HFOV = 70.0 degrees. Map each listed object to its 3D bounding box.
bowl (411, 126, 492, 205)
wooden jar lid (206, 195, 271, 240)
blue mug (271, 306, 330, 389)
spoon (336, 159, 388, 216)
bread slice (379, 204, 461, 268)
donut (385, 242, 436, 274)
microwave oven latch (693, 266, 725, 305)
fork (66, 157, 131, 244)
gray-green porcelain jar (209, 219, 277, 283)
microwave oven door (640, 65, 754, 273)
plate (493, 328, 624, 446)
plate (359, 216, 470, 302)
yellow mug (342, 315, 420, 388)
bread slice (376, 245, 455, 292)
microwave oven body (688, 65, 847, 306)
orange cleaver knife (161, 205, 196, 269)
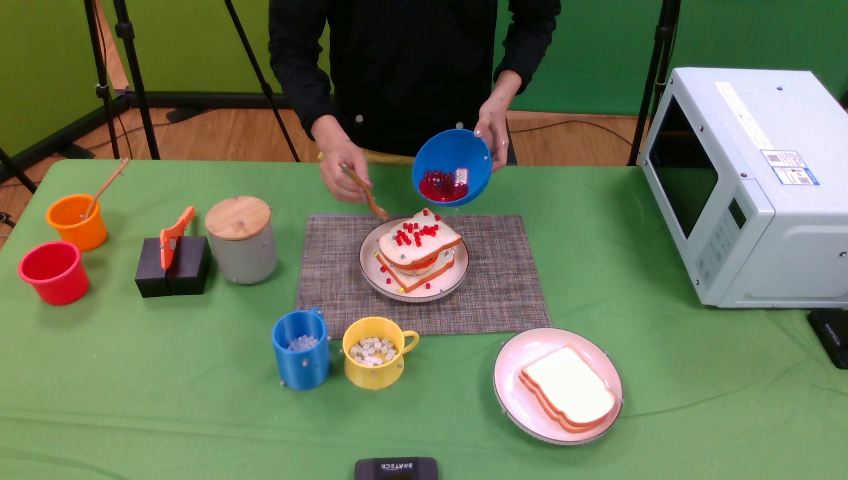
[{"bbox_3d":[0.061,-0.122,1.106,0.151,0.077,0.150,-9,67,21],"label":"bowl"},{"bbox_3d":[-0.319,-0.036,1.046,0.108,0.021,0.107,1,44,-1],"label":"wooden jar lid"},{"bbox_3d":[-0.188,0.163,0.969,0.082,0.106,0.116,15,47,10],"label":"blue mug"},{"bbox_3d":[-0.100,-0.084,0.981,0.021,0.195,0.041,-42,62,-5],"label":"spoon"},{"bbox_3d":[-0.013,-0.003,1.096,0.134,0.018,0.106,-35,50,-21],"label":"bread slice"},{"bbox_3d":[-0.025,0.020,1.122,0.099,0.048,0.098,-10,46,10],"label":"donut"},{"bbox_3d":[0.523,0.081,1.115,0.030,0.029,0.078,3,46,0],"label":"microwave oven latch"},{"bbox_3d":[-0.608,-0.074,1.132,0.207,0.019,0.028,-52,48,10],"label":"fork"},{"bbox_3d":[-0.323,0.007,1.092,0.106,0.127,0.105,2,46,-2],"label":"gray-green porcelain jar"},{"bbox_3d":[0.523,-0.147,1.193,0.039,0.245,0.353,0,47,-3],"label":"microwave oven door"},{"bbox_3d":[0.213,0.236,0.974,0.208,0.039,0.206,2,46,-2],"label":"plate"},{"bbox_3d":[-0.018,0.038,1.140,0.209,0.038,0.208,2,46,-2],"label":"plate"},{"bbox_3d":[-0.068,0.177,0.990,0.131,0.064,0.099,-15,50,-19],"label":"yellow mug"},{"bbox_3d":[-0.010,0.033,1.149,0.131,0.019,0.104,-27,55,-26],"label":"bread slice"},{"bbox_3d":[0.669,-0.111,1.176,0.326,0.261,0.439,0,46,-3],"label":"microwave oven body"},{"bbox_3d":[-0.454,-0.010,1.129,0.012,0.077,0.210,-2,20,-5],"label":"orange cleaver knife"}]
